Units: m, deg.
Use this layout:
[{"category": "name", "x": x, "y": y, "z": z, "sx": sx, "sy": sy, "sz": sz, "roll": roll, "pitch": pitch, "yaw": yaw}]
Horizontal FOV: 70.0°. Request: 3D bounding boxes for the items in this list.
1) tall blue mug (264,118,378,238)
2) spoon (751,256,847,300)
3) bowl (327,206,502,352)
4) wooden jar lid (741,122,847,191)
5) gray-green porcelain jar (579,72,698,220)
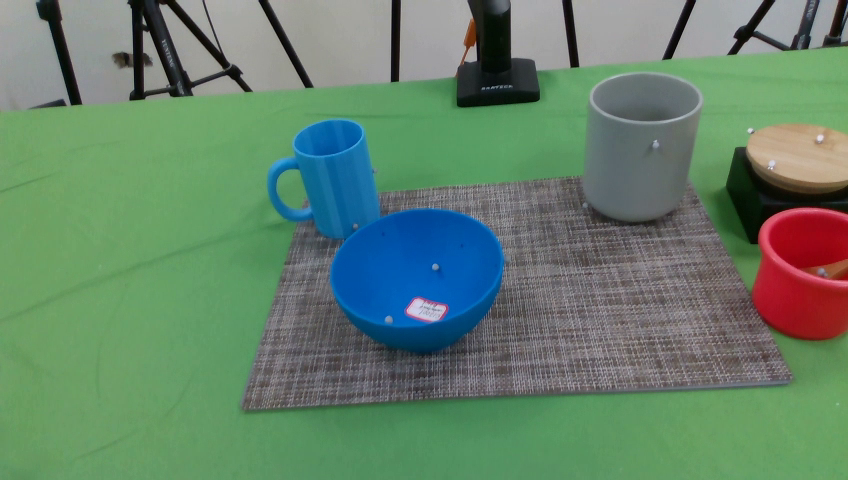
[{"category": "tall blue mug", "x": -0.108, "y": -0.059, "z": 0.655, "sx": 0.107, "sy": 0.109, "sz": 0.077, "roll": -35, "pitch": 48, "yaw": -28}, {"category": "spoon", "x": 0.356, "y": 0.012, "z": 0.476, "sx": 0.022, "sy": 0.193, "sz": 0.041, "roll": 48, "pitch": 48, "yaw": -8}, {"category": "bowl", "x": -0.005, "y": 0.046, "z": 0.539, "sx": 0.151, "sy": 0.077, "sz": 0.150, "roll": -4, "pitch": 40, "yaw": 4}, {"category": "wooden jar lid", "x": 0.373, "y": -0.082, "z": 0.601, "sx": 0.108, "sy": 0.021, "sz": 0.107, "roll": -5, "pitch": 40, "yaw": 5}, {"category": "gray-green porcelain jar", "x": 0.217, "y": -0.092, "z": 0.627, "sx": 0.106, "sy": 0.128, "sz": 0.105, "roll": -5, "pitch": 41, "yaw": 4}]
